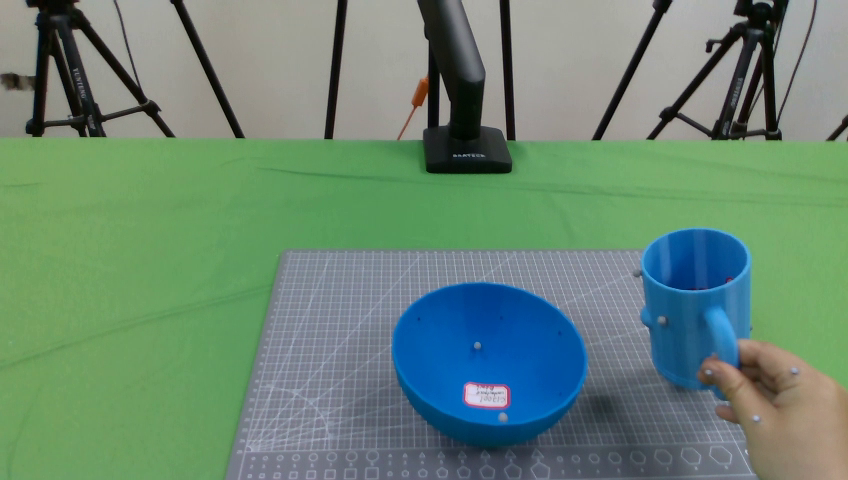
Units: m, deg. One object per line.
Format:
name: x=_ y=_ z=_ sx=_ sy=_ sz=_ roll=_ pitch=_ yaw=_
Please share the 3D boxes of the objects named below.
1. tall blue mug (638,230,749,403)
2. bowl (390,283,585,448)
tall blue mug: x=0.222 y=0.064 z=0.472 sx=0.078 sy=0.109 sz=0.106 roll=-28 pitch=35 yaw=-12
bowl: x=0.047 y=0.112 z=0.486 sx=0.151 sy=0.077 sz=0.150 roll=2 pitch=36 yaw=-1
